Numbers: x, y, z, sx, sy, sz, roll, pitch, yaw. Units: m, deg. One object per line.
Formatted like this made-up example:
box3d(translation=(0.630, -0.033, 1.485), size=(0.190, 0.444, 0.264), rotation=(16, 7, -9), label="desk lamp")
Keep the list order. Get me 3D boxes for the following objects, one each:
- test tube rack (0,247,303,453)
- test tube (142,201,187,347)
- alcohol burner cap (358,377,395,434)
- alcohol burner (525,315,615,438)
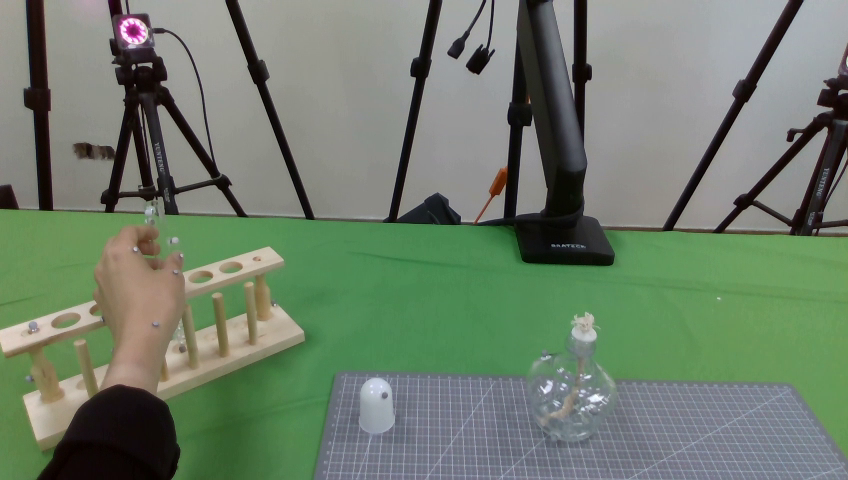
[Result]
box3d(translation=(-0.239, 0.091, 0.565), size=(0.243, 0.086, 0.066), rotation=(-20, 37, -34), label="test tube rack")
box3d(translation=(-0.238, 0.035, 0.563), size=(0.017, 0.151, 0.017), rotation=(0, 26, 1), label="test tube")
box3d(translation=(-0.042, 0.141, 0.528), size=(0.034, 0.048, 0.033), rotation=(2, 31, -1), label="alcohol burner cap")
box3d(translation=(0.127, 0.111, 0.519), size=(0.078, 0.120, 0.077), rotation=(2, 32, -1), label="alcohol burner")
